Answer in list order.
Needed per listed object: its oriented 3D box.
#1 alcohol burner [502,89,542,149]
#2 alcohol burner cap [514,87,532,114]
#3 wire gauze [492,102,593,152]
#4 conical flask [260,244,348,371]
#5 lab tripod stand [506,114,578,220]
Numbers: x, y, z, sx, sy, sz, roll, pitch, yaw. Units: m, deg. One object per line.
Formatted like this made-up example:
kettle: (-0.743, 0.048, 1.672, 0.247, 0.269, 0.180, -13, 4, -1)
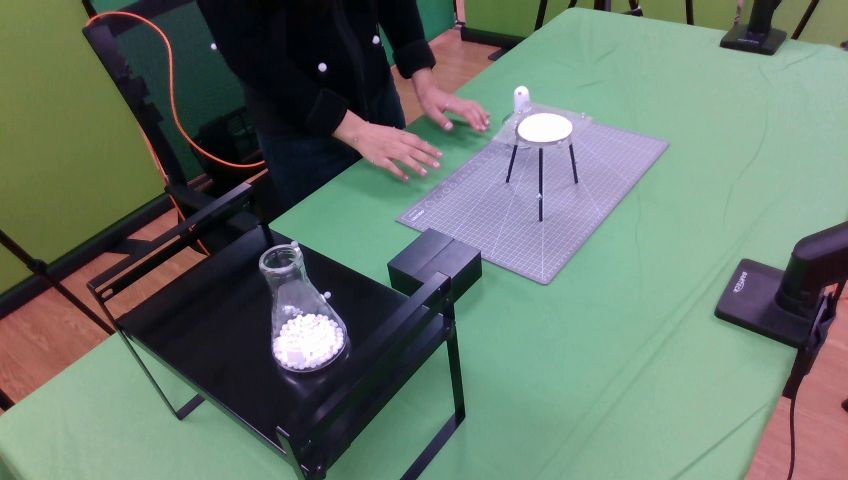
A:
alcohol burner: (0.186, -0.235, 1.149, 0.078, 0.119, 0.077, -5, 42, 5)
alcohol burner cap: (0.183, -0.262, 1.125, 0.034, 0.048, 0.033, -7, 39, 7)
wire gauze: (0.190, -0.180, 0.964, 0.120, 0.011, 0.125, 19, 48, 27)
conical flask: (-0.118, 0.060, 0.565, 0.075, 0.122, 0.075, -5, 41, 4)
lab tripod stand: (0.198, -0.128, 1.005, 0.148, 0.132, 0.147, -3, 42, 3)
